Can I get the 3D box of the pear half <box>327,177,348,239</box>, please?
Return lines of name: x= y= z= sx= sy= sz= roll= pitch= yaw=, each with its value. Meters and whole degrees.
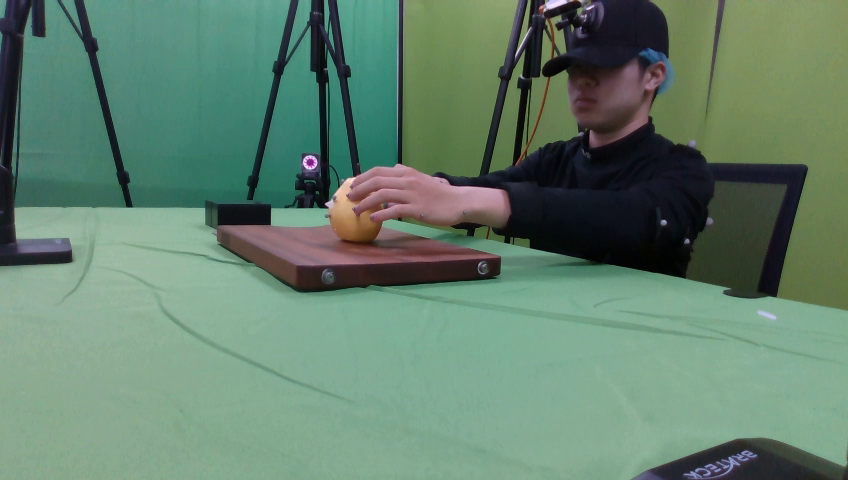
pear half: x=-0.115 y=-0.046 z=0.862 sx=0.031 sy=0.088 sz=0.071 roll=5 pitch=11 yaw=31

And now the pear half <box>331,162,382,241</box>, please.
pear half: x=-0.086 y=-0.053 z=0.840 sx=0.056 sy=0.110 sz=0.076 roll=9 pitch=11 yaw=30

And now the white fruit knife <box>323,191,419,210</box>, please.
white fruit knife: x=-0.073 y=-0.057 z=0.894 sx=0.016 sy=0.027 sz=0.208 roll=9 pitch=10 yaw=35
